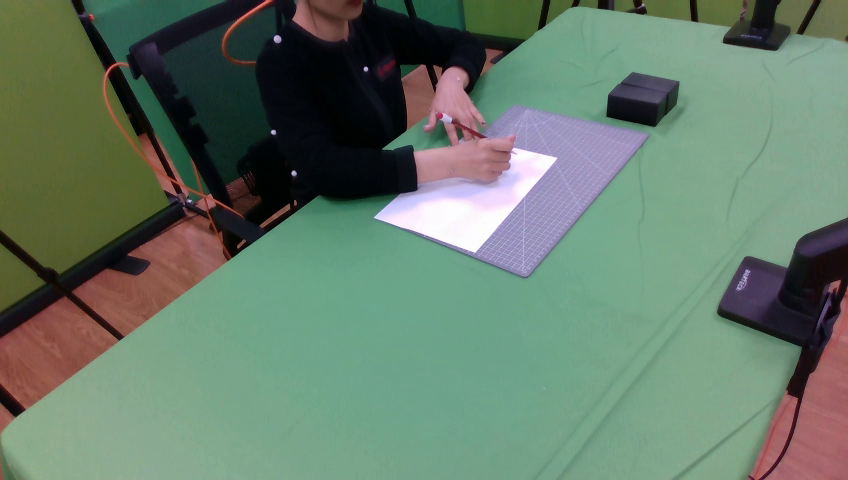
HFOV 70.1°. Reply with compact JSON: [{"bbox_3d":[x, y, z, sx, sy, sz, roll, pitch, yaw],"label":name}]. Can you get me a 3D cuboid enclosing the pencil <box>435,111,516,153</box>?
[{"bbox_3d":[0.095,-0.183,1.049,0.196,0.012,0.012,18,24,-37],"label":"pencil"}]
